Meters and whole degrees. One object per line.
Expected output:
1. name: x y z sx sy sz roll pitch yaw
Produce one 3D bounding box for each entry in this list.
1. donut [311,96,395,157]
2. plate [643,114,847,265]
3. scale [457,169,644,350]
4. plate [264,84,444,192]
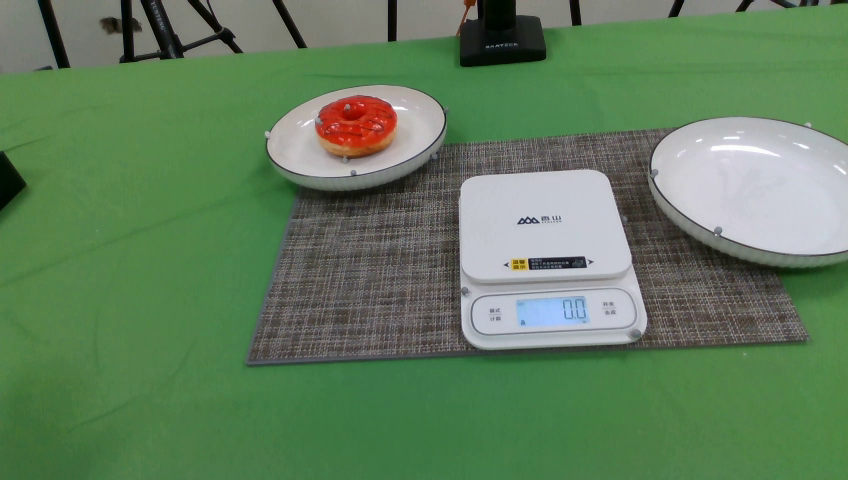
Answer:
1. donut: -0.082 -0.132 0.706 0.099 0.049 0.098 -4 41 3
2. plate: 0.312 -0.048 0.571 0.207 0.039 0.205 -2 44 3
3. scale: 0.105 0.009 0.545 0.148 0.032 0.199 -4 44 6
4. plate: -0.079 -0.117 0.705 0.209 0.038 0.207 -5 41 5
